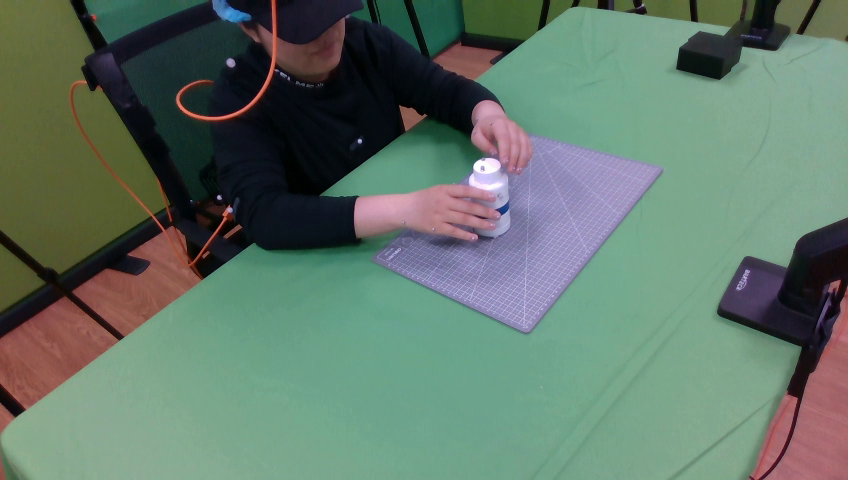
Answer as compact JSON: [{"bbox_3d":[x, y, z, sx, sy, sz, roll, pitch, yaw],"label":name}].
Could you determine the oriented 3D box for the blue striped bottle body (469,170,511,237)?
[{"bbox_3d":[0.105,-0.069,0.963,0.063,0.121,0.063,-6,40,5],"label":"blue striped bottle body"}]

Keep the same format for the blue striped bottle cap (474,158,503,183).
[{"bbox_3d":[0.099,-0.108,0.931,0.044,0.021,0.044,-6,40,6],"label":"blue striped bottle cap"}]
